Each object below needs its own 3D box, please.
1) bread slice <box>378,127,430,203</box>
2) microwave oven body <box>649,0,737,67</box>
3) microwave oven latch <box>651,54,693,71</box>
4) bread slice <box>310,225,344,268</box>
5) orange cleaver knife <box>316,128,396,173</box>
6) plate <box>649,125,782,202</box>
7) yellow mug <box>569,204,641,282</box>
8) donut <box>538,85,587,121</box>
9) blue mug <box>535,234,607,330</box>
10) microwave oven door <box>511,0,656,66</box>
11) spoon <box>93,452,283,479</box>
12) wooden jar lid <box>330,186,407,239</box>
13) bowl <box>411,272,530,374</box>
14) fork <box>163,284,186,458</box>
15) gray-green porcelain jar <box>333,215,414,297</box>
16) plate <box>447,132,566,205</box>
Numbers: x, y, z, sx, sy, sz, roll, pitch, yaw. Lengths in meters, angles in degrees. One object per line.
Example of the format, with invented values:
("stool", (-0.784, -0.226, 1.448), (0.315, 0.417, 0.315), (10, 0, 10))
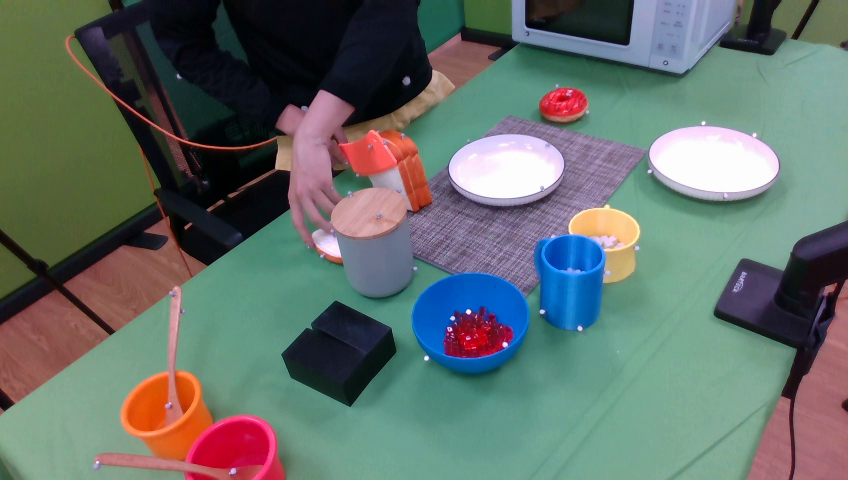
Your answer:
("bread slice", (-0.039, -0.131, 1.043), (0.106, 0.135, 0.018), (31, 56, 35))
("microwave oven body", (0.475, -0.602, 1.411), (0.438, 0.261, 0.327), (23, 50, 32))
("microwave oven latch", (0.531, -0.386, 1.301), (0.078, 0.029, 0.030), (26, 51, 33))
("bread slice", (-0.126, 0.007, 1.013), (0.104, 0.019, 0.132), (38, 32, 27))
("orange cleaver knife", (-0.120, -0.149, 1.038), (0.012, 0.077, 0.209), (-40, 26, -30))
("plate", (0.493, -0.127, 1.036), (0.207, 0.039, 0.206), (-4, 40, 4))
("yellow mug", (0.268, -0.005, 0.904), (0.099, 0.064, 0.130), (7, 41, 15))
("donut", (0.283, -0.280, 1.239), (0.099, 0.048, 0.098), (-5, 42, 5))
("blue mug", (0.191, 0.048, 0.824), (0.082, 0.106, 0.115), (-26, 44, -20))
("microwave oven door", (0.351, -0.539, 1.349), (0.353, 0.245, 0.039), (24, 50, 31))
("spoon", (-0.240, 0.239, 0.632), (0.195, 0.021, 0.041), (26, 32, -32))
("wooden jar lid", (-0.077, -0.035, 0.846), (0.108, 0.021, 0.108), (-6, 41, 5))
("bowl", (0.061, 0.120, 0.780), (0.151, 0.077, 0.150), (-4, 40, 4))
("fork", (-0.302, 0.157, 0.733), (0.028, 0.019, 0.207), (-3, 84, 15))
("gray-green porcelain jar", (-0.071, 0.012, 0.887), (0.106, 0.127, 0.105), (-4, 41, 4))
("plate", (0.145, -0.124, 1.076), (0.209, 0.038, 0.208), (-3, 41, 3))
